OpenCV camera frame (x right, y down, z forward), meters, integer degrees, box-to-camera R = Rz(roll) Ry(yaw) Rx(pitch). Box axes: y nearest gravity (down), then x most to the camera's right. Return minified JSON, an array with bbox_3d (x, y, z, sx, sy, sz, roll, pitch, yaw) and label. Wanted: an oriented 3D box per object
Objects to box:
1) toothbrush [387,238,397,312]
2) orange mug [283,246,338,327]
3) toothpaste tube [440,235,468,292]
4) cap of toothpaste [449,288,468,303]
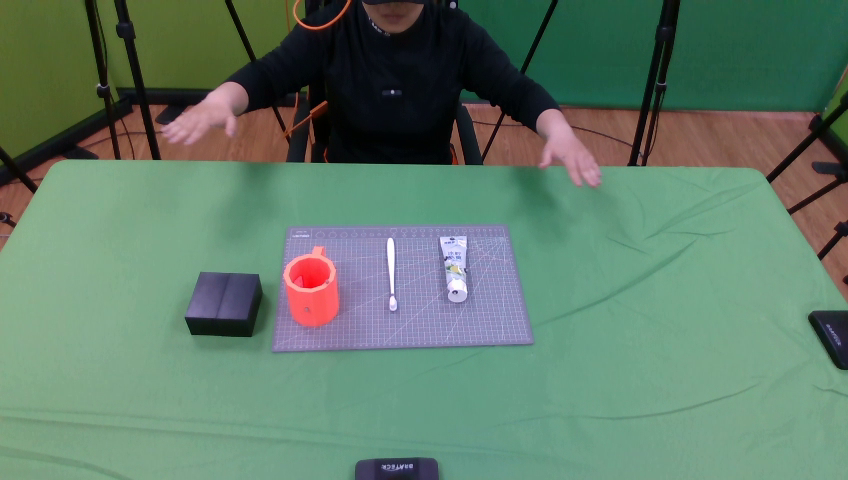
[{"bbox_3d":[-0.061,0.059,1.136,0.014,0.017,0.180,-11,45,5],"label":"toothbrush"},{"bbox_3d":[-0.193,0.073,1.056,0.083,0.101,0.125,5,50,1],"label":"orange mug"},{"bbox_3d":[0.062,0.046,1.150,0.055,0.035,0.164,3,43,-6],"label":"toothpaste tube"},{"bbox_3d":[0.062,0.099,1.093,0.037,0.037,0.011,1,43,-2],"label":"cap of toothpaste"}]
